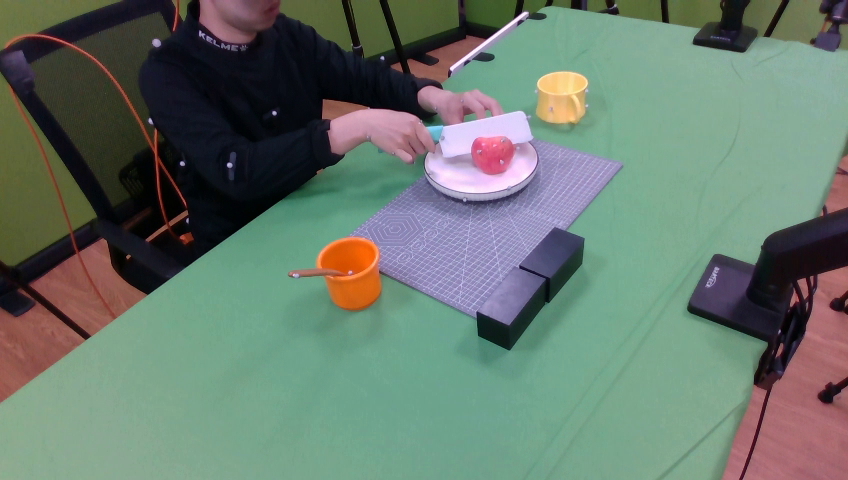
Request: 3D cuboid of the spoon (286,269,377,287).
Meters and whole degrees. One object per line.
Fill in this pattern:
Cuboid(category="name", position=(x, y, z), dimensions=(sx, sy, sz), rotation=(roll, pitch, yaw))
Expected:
Cuboid(category="spoon", position=(-0.125, 0.049, 0.832), dimensions=(0.041, 0.195, 0.021), rotation=(21, 92, 28))

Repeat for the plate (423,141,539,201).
Cuboid(category="plate", position=(0.102, -0.132, 1.093), dimensions=(0.209, 0.038, 0.208), rotation=(-4, 40, 4))

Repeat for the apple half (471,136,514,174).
Cuboid(category="apple half", position=(0.120, -0.144, 1.060), dimensions=(0.081, 0.081, 0.032), rotation=(1, 38, 10))

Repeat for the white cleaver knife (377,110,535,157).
Cuboid(category="white cleaver knife", position=(0.050, -0.177, 1.068), dimensions=(0.285, 0.066, 0.021), rotation=(-6, 30, 19))

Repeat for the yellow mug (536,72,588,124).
Cuboid(category="yellow mug", position=(0.285, -0.281, 1.222), dimensions=(0.100, 0.064, 0.130), rotation=(-16, 42, -9))

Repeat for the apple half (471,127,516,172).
Cuboid(category="apple half", position=(0.126, -0.167, 1.089), dimensions=(0.080, 0.075, 0.053), rotation=(-6, 34, 13))
